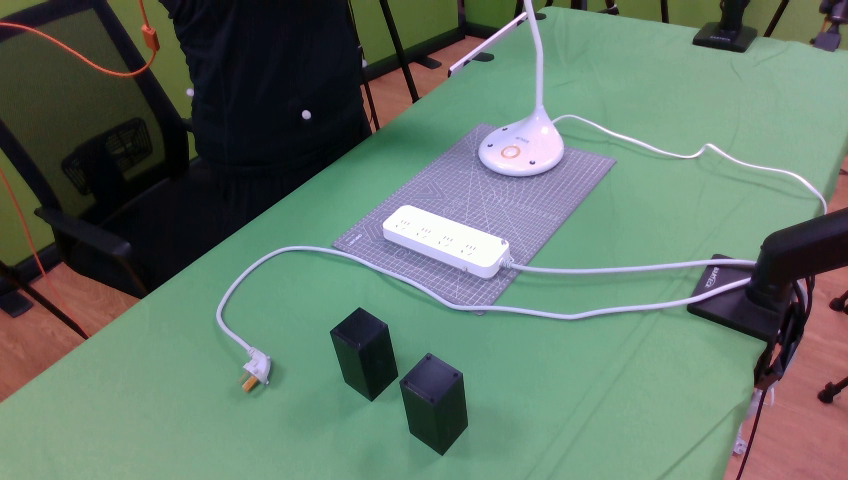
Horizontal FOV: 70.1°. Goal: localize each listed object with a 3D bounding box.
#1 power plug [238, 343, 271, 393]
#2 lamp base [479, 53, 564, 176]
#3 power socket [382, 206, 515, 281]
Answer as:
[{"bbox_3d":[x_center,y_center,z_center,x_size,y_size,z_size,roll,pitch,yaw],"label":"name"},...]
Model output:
[{"bbox_3d":[-0.230,0.172,0.801,0.072,0.035,0.053,9,51,50],"label":"power plug"},{"bbox_3d":[0.181,-0.235,1.093,0.159,0.181,0.179,18,44,27],"label":"lamp base"},{"bbox_3d":[0.032,0.002,0.950,0.225,0.033,0.072,21,49,29],"label":"power socket"}]
